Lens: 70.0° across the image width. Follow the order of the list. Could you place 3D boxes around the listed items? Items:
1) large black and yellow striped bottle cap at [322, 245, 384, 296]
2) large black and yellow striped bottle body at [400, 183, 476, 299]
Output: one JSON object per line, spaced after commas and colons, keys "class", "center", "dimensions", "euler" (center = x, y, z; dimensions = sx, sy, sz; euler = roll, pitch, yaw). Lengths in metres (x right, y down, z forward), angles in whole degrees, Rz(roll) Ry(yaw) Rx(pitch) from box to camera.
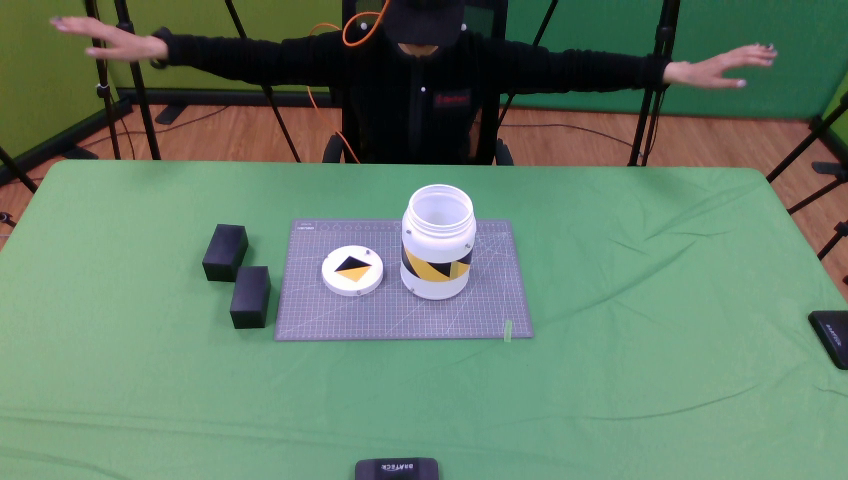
{"class": "large black and yellow striped bottle cap", "center": [-0.133, 0.055, 1.135], "dimensions": [0.115, 0.019, 0.114], "euler": [2, 47, -2]}
{"class": "large black and yellow striped bottle body", "center": [0.024, 0.003, 1.079], "dimensions": [0.131, 0.185, 0.130], "euler": [2, 46, -2]}
